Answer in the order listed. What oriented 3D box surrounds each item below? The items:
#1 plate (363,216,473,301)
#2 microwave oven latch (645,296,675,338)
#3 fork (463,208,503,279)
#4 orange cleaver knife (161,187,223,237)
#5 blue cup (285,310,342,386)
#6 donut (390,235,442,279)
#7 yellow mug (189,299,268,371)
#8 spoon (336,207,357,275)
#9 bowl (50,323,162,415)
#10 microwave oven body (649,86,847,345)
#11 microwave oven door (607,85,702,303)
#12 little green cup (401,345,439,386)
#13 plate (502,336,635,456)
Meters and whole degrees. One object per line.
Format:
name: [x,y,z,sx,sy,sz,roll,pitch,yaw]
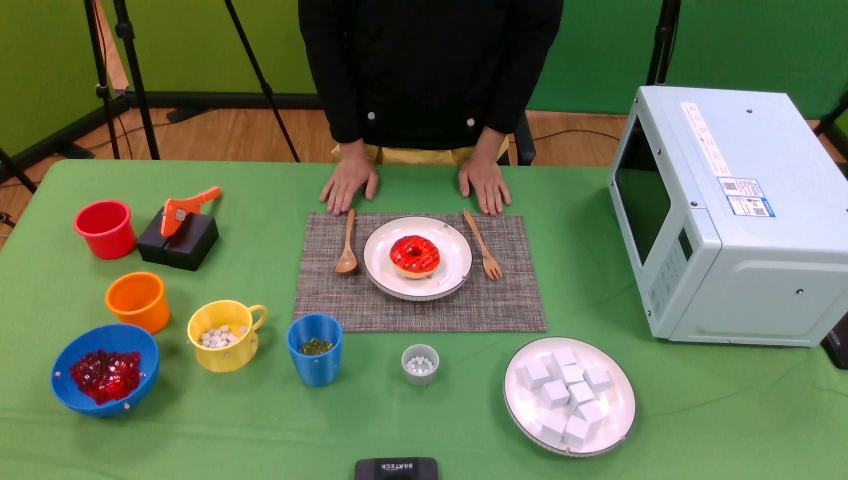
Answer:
plate: [-0.012,0.038,1.144,0.209,0.038,0.208,2,46,-2]
microwave oven latch: [0.412,0.134,1.061,0.030,0.029,0.078,3,45,0]
fork: [0.113,0.003,1.199,0.028,0.019,0.206,-20,50,-1]
orange cleaver knife: [-0.448,-0.058,1.181,0.012,0.077,0.211,13,17,6]
blue cup: [-0.170,0.179,0.958,0.093,0.101,0.092,2,44,-1]
donut: [-0.016,0.031,1.135,0.099,0.048,0.098,4,44,-3]
yellow mug: [-0.316,0.148,1.002,0.131,0.064,0.099,-32,56,-31]
spoon: [-0.146,-0.002,1.184,0.041,0.022,0.192,-17,45,15]
bowl: [-0.472,0.209,0.924,0.151,0.077,0.150,3,45,-2]
microwave oven body: [0.568,-0.053,1.118,0.326,0.261,0.439,2,45,-1]
microwave oven door: [0.423,-0.094,1.141,0.039,0.245,0.353,2,46,-1]
little green cup: [-0.007,0.206,0.988,0.061,0.039,0.061,2,46,-2]
plate: [0.225,0.248,0.963,0.208,0.039,0.206,2,46,-2]
